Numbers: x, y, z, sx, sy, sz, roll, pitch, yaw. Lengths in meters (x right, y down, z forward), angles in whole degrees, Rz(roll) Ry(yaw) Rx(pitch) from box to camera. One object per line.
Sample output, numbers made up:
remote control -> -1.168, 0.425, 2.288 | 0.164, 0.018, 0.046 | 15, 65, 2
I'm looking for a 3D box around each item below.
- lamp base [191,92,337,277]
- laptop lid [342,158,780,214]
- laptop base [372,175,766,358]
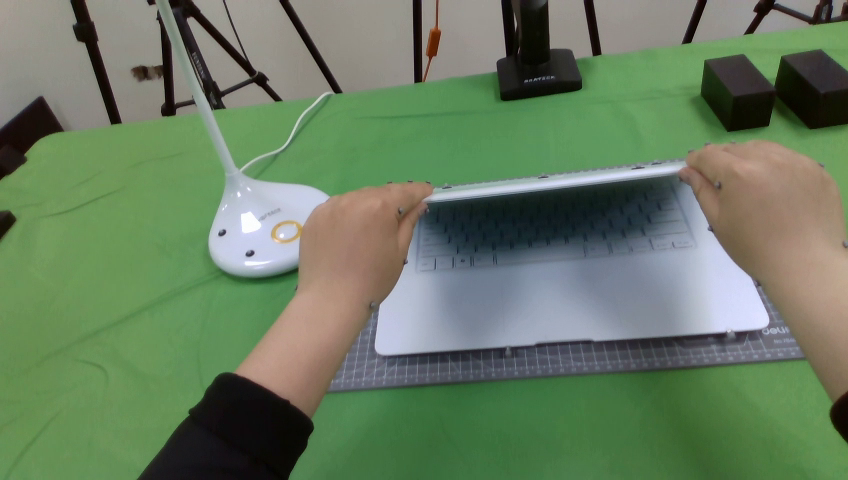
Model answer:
lamp base -> -0.207, -0.074, 0.693 | 0.177, 0.182, 0.160 | 23, 52, 37
laptop lid -> 0.116, -0.057, 0.594 | 0.356, 0.013, 0.241 | -6, 6, 9
laptop base -> 0.129, 0.018, 0.629 | 0.354, 0.023, 0.233 | -6, 44, 8
